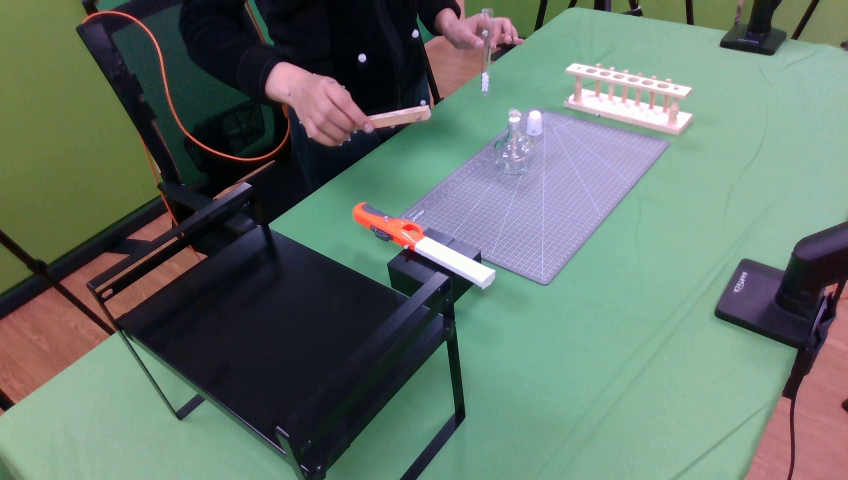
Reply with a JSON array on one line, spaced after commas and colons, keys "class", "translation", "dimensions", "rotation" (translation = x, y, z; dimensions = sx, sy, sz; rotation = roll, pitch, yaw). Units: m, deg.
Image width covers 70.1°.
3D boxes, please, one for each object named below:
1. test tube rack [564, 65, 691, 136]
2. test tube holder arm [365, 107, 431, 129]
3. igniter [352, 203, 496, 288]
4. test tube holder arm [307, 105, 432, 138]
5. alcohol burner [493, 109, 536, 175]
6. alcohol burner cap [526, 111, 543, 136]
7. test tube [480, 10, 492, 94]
[{"class": "test tube rack", "translation": [0.404, -0.288, 1.204], "dimensions": [0.240, 0.085, 0.067], "rotation": [24, 49, 32]}, {"class": "test tube holder arm", "translation": [-0.035, -0.157, 0.781], "dimensions": [0.087, 0.015, 0.010], "rotation": [-5, 31, 21]}, {"class": "igniter", "translation": [-0.011, 0.002, 0.899], "dimensions": [0.274, 0.025, 0.057], "rotation": [27, 45, 33]}, {"class": "test tube holder arm", "translation": [-0.075, -0.156, 0.801], "dimensions": [0.177, 0.015, 0.013], "rotation": [-6, 31, 20]}, {"class": "alcohol burner", "translation": [0.163, -0.179, 1.087], "dimensions": [0.078, 0.119, 0.077], "rotation": [-5, 39, 5]}, {"class": "alcohol burner cap", "translation": [0.219, -0.232, 1.196], "dimensions": [0.034, 0.048, 0.033], "rotation": [-4, 40, 4]}, {"class": "test tube", "translation": [0.113, -0.342, 1.106], "dimensions": [0.017, 0.150, 0.017], "rotation": [0, 32, 1]}]
